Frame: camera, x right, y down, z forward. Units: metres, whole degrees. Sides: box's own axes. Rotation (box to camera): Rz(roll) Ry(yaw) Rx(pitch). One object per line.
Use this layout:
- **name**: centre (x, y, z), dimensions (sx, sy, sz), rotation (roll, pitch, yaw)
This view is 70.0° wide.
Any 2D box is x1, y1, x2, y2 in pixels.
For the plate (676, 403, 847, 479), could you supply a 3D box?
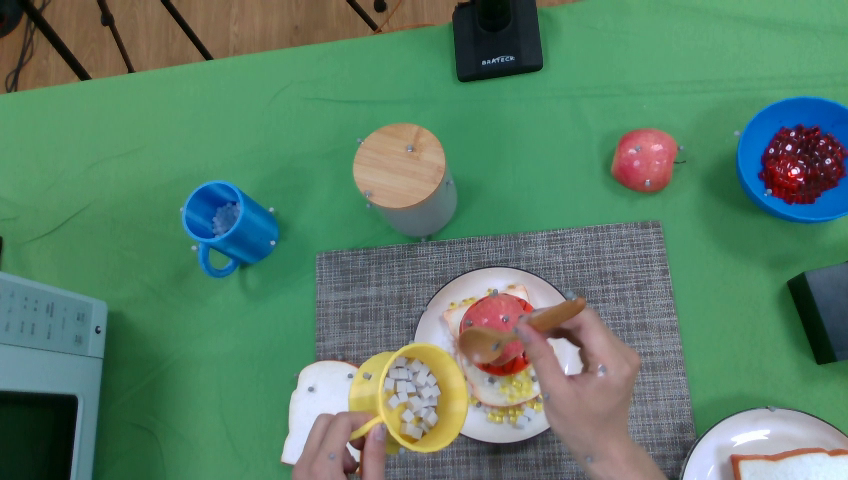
- **plate**: centre (0.372, 0.280, 0.639), dimensions (0.209, 0.038, 0.208), rotation (-3, 74, 10)

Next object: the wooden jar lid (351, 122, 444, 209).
- **wooden jar lid**: centre (-0.030, -0.084, 0.699), dimensions (0.108, 0.021, 0.107), rotation (-2, 72, 7)

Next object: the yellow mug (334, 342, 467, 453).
- **yellow mug**: centre (-0.028, 0.159, 0.578), dimensions (0.131, 0.064, 0.100), rotation (-23, 87, -36)

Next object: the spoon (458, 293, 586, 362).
- **spoon**: centre (0.076, 0.075, 0.498), dimensions (0.041, 0.194, 0.021), rotation (43, 64, -2)

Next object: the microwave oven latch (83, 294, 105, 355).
- **microwave oven latch**: centre (-0.451, 0.114, 0.814), dimensions (0.030, 0.030, 0.078), rotation (-2, 75, 9)

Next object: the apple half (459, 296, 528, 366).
- **apple half**: centre (0.077, 0.099, 0.671), dimensions (0.081, 0.033, 0.081), rotation (-5, 70, 15)

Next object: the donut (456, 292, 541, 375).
- **donut**: centre (0.086, 0.108, 0.705), dimensions (0.099, 0.048, 0.098), rotation (-3, 75, 10)

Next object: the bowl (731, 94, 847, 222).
- **bowl**: centre (0.431, -0.084, 0.708), dimensions (0.151, 0.077, 0.150), rotation (-3, 75, 10)

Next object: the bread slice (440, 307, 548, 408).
- **bread slice**: centre (0.091, 0.134, 0.738), dimensions (0.107, 0.018, 0.133), rotation (-22, 65, 0)

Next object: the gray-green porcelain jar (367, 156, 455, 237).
- **gray-green porcelain jar**: centre (-0.018, -0.066, 0.760), dimensions (0.105, 0.127, 0.105), rotation (-3, 74, 10)

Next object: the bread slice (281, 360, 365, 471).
- **bread slice**: centre (-0.122, 0.215, 0.754), dimensions (0.105, 0.019, 0.131), rotation (2, 77, 9)

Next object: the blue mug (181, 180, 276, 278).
- **blue mug**: centre (-0.259, -0.006, 0.797), dimensions (0.082, 0.106, 0.116), rotation (15, 78, 14)

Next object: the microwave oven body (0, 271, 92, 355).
- **microwave oven body**: centre (-0.605, 0.271, 0.696), dimensions (0.325, 0.262, 0.439), rotation (-5, 74, 8)

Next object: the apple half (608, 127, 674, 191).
- **apple half**: centre (0.273, -0.107, 0.757), dimensions (0.074, 0.054, 0.080), rotation (16, 78, 17)

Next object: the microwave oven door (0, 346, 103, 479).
- **microwave oven door**: centre (-0.461, 0.296, 0.658), dimensions (0.039, 0.245, 0.353), rotation (-6, 73, 9)

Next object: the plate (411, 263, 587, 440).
- **plate**: centre (0.088, 0.132, 0.728), dimensions (0.207, 0.039, 0.206), rotation (-3, 74, 10)
